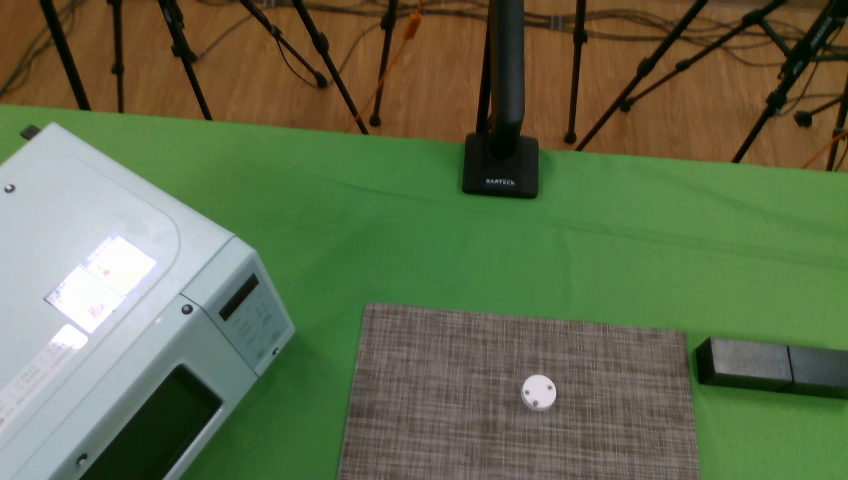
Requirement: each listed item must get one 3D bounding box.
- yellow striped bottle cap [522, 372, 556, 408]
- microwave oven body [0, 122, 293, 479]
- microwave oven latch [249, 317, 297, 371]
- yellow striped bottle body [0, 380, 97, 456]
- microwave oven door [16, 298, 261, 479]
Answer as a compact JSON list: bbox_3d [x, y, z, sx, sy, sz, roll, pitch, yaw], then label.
[{"bbox_3d":[0.152,0.198,0.798,0.044,0.019,0.044,0,61,1],"label":"yellow striped bottle cap"},{"bbox_3d":[-0.422,0.146,0.680,0.324,0.262,0.440,30,66,14],"label":"microwave oven body"},{"bbox_3d":[-0.202,0.132,0.800,0.030,0.030,0.079,31,66,15],"label":"microwave oven latch"},{"bbox_3d":[-0.415,0.193,0.663,0.063,0.121,0.062,2,60,-3],"label":"yellow striped bottle body"},{"bbox_3d":[-0.322,0.244,0.623,0.039,0.246,0.354,29,65,15],"label":"microwave oven door"}]
